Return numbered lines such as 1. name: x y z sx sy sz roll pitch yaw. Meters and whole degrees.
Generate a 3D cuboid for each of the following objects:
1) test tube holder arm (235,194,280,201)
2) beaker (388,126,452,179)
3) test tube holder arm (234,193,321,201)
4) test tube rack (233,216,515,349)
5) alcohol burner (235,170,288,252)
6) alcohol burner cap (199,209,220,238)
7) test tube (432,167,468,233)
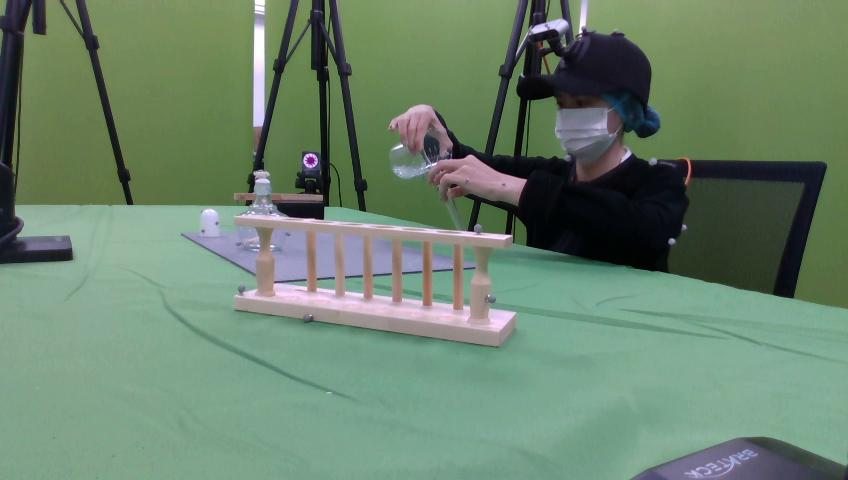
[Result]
1. test tube holder arm: -0.336 -0.086 1.221 0.088 0.015 0.010 -1 16 -29
2. beaker: -0.010 -0.151 1.094 0.074 0.084 0.100 13 -18 -42
3. test tube holder arm: -0.299 -0.088 1.248 0.179 0.015 0.013 -1 16 -30
4. test tube rack: -0.045 0.029 0.526 0.241 0.085 0.067 5 8 19
5. alcohol burner: -0.236 -0.042 0.882 0.078 0.119 0.078 2 9 0
6. alcohol burner cap: -0.356 -0.027 1.002 0.034 0.048 0.034 2 7 0
7. test tube: 0.043 -0.064 1.014 0.017 0.149 0.017 -15 -32 -10
